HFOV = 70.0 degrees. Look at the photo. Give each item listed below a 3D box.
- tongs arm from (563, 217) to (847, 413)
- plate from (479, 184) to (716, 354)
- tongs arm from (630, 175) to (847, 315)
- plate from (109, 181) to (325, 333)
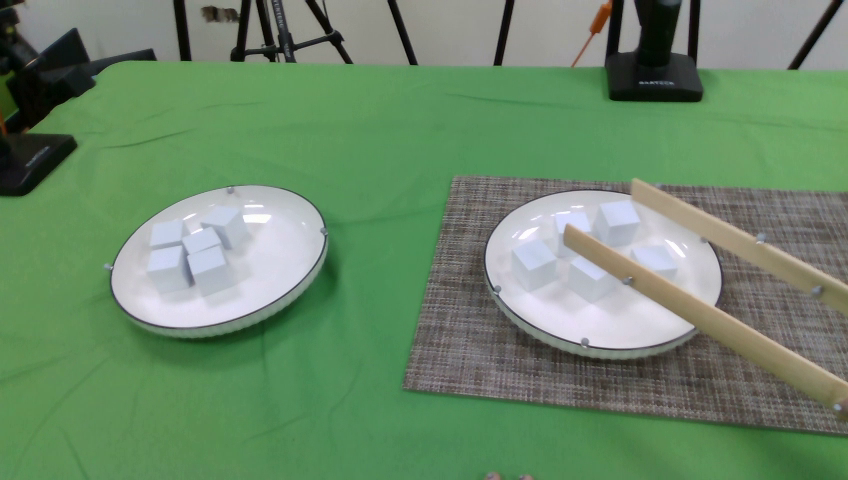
[{"bbox_3d":[0.245,0.076,0.390,0.028,0.028,0.383,-31,46,-29],"label":"tongs arm"},{"bbox_3d":[0.155,0.025,0.560,0.207,0.039,0.205,-3,43,3],"label":"plate"},{"bbox_3d":[0.283,0.053,0.408,0.051,0.027,0.380,-31,47,-25],"label":"tongs arm"},{"bbox_3d":[-0.201,0.016,0.609,0.209,0.038,0.207,-2,42,2],"label":"plate"}]
